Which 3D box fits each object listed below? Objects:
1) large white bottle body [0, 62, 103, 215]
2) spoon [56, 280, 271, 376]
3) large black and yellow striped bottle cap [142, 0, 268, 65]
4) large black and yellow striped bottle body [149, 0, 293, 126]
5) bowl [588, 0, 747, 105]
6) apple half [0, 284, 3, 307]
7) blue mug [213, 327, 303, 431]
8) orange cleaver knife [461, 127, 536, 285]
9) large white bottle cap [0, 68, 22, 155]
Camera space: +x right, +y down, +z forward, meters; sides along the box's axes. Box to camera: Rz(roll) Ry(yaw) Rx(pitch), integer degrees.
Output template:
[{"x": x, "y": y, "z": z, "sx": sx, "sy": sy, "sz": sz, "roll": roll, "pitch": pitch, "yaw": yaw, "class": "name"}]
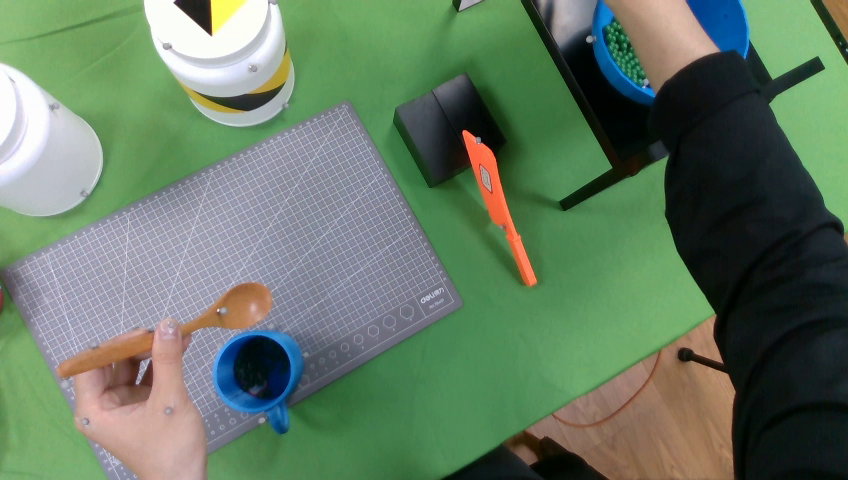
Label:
[{"x": -0.434, "y": -0.105, "z": 0.625, "sx": 0.131, "sy": 0.185, "sz": 0.130, "roll": 1, "pitch": 82, "yaw": -7, "class": "large white bottle body"}, {"x": -0.189, "y": 0.067, "z": 0.472, "sx": 0.021, "sy": 0.194, "sz": 0.042, "roll": 7, "pitch": 102, "yaw": 23, "class": "spoon"}, {"x": -0.210, "y": -0.227, "z": 0.584, "sx": 0.115, "sy": 0.019, "sz": 0.114, "roll": 1, "pitch": 84, "yaw": -9, "class": "large black and yellow striped bottle cap"}, {"x": -0.219, "y": -0.214, "z": 0.666, "sx": 0.131, "sy": 0.184, "sz": 0.130, "roll": 1, "pitch": 82, "yaw": -7, "class": "large black and yellow striped bottle body"}, {"x": 0.223, "y": -0.195, "z": 0.594, "sx": 0.152, "sy": 0.077, "sz": 0.151, "roll": 1, "pitch": 83, "yaw": -7, "class": "bowl"}, {"x": -0.494, "y": 0.071, "z": 0.653, "sx": 0.081, "sy": 0.074, "sz": 0.053, "roll": -43, "pitch": 94, "yaw": -13, "class": "apple half"}, {"x": -0.173, "y": 0.153, "z": 0.665, "sx": 0.082, "sy": 0.106, "sz": 0.116, "roll": -21, "pitch": 86, "yaw": -9, "class": "blue mug"}, {"x": 0.090, "y": -0.038, "z": 0.734, "sx": 0.012, "sy": 0.076, "sz": 0.213, "roll": -29, "pitch": 118, "yaw": -10, "class": "orange cleaver knife"}, {"x": -0.425, "y": -0.116, "z": 0.541, "sx": 0.115, "sy": 0.018, "sz": 0.114, "roll": 1, "pitch": 83, "yaw": -7, "class": "large white bottle cap"}]
